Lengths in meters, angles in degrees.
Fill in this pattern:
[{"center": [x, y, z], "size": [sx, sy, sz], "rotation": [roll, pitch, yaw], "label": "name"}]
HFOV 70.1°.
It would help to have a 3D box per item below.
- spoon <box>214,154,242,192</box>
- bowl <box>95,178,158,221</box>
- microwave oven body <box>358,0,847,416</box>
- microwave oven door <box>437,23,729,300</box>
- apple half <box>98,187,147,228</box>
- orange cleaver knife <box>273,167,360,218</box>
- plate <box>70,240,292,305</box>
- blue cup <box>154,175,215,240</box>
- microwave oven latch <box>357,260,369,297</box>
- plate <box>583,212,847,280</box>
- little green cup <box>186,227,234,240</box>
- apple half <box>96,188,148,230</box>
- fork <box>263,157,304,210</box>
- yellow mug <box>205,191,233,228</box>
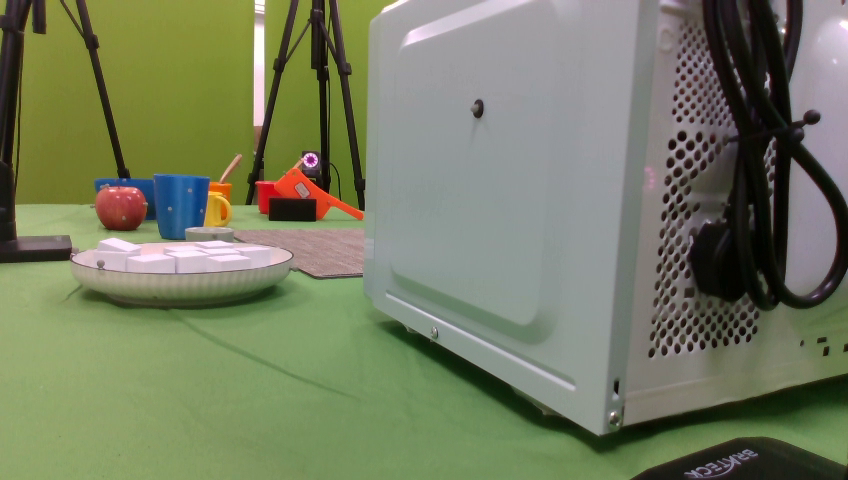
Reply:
[{"center": [-0.439, -0.124, 1.317], "size": [0.041, 0.193, 0.022], "rotation": [5, -37, 16], "label": "spoon"}, {"center": [-0.576, -0.081, 1.217], "size": [0.151, 0.077, 0.151], "rotation": [3, 8, 0], "label": "bowl"}, {"center": [0.211, -0.047, 0.474], "size": [0.444, 0.260, 0.324], "rotation": [-1, 7, -28], "label": "microwave oven body"}, {"center": [0.181, -0.072, 0.621], "size": [0.358, 0.243, 0.039], "rotation": [-2, 8, -29], "label": "microwave oven door"}, {"center": [-0.534, -0.059, 1.071], "size": [0.082, 0.081, 0.032], "rotation": [-1, 11, -25], "label": "apple half"}, {"center": [-0.238, -0.091, 1.381], "size": [0.212, 0.077, 0.012], "rotation": [31, 0, -19], "label": "orange cleaver knife"}, {"center": [-0.242, 0.031, 0.618], "size": [0.208, 0.039, 0.207], "rotation": [2, 8, 0], "label": "plate"}, {"center": [-0.390, -0.053, 0.978], "size": [0.093, 0.100, 0.092], "rotation": [3, 6, 0], "label": "blue cup"}, {"center": [-0.019, 0.033, 0.530], "size": [0.079, 0.029, 0.030], "rotation": [-1, 7, -26], "label": "microwave oven latch"}, {"center": [0.239, 0.002, 0.510], "size": [0.209, 0.038, 0.209], "rotation": [2, 7, 0], "label": "plate"}, {"center": [-0.285, 0.005, 0.805], "size": [0.061, 0.038, 0.061], "rotation": [2, 8, 0], "label": "little green cup"}, {"center": [-0.517, -0.052, 1.036], "size": [0.081, 0.074, 0.053], "rotation": [2, 10, -26], "label": "apple half"}, {"center": [-0.345, -0.143, 1.505], "size": [0.028, 0.019, 0.207], "rotation": [-3, 46, 28], "label": "fork"}, {"center": [-0.415, -0.057, 1.132], "size": [0.130, 0.064, 0.100], "rotation": [6, 8, 16], "label": "yellow mug"}]
